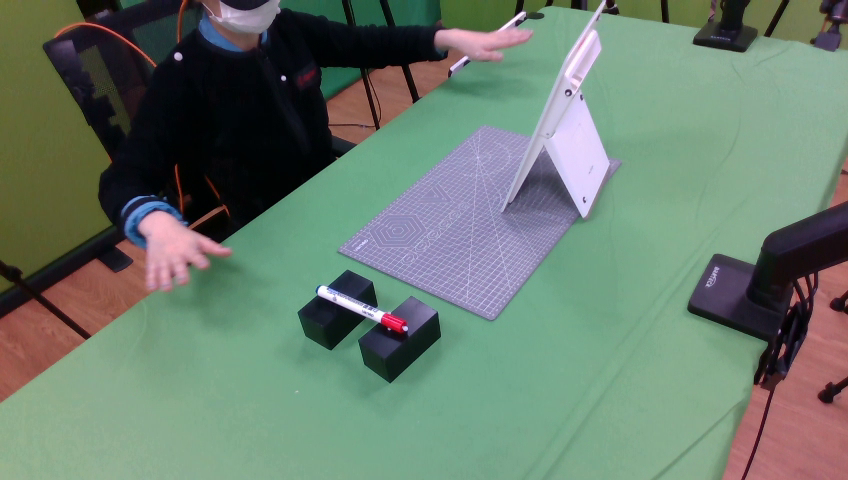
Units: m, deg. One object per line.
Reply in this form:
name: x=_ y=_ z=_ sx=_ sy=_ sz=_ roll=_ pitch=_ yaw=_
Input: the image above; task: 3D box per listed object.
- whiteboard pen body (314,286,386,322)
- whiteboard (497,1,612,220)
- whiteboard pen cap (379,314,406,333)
whiteboard pen body: x=-0.089 y=0.088 z=0.801 sx=0.139 sy=0.017 sz=0.017 roll=19 pitch=47 yaw=27
whiteboard: x=0.260 y=-0.178 z=0.963 sx=0.143 sy=0.306 sz=0.217 roll=28 pitch=49 yaw=9
whiteboard pen cap: x=-0.041 y=0.106 z=0.776 sx=0.032 sy=0.017 sz=0.017 roll=18 pitch=46 yaw=25
